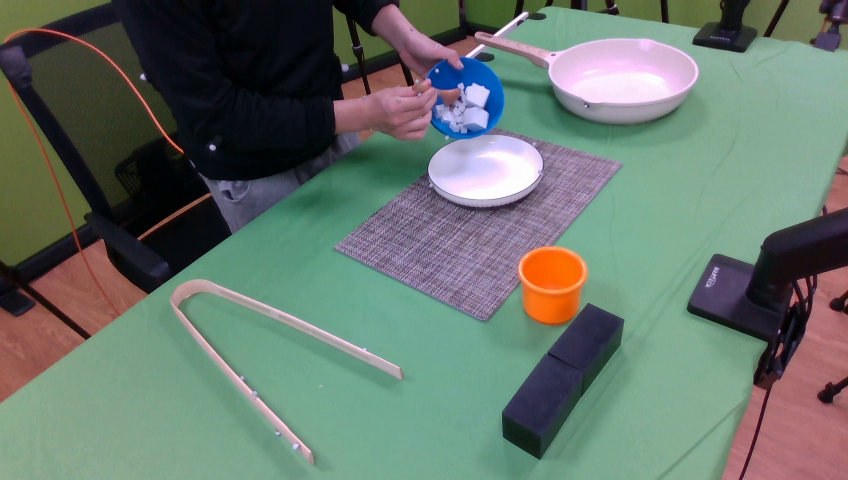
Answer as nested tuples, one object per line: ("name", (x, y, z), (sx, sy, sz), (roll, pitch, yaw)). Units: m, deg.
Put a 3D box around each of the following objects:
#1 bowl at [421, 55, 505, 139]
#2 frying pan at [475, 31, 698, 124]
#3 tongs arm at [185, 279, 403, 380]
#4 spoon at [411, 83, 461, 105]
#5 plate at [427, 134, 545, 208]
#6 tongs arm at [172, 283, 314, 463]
("bowl", (0.065, -0.248, 1.099), (0.152, 0.077, 0.151), (1, 81, -8))
("frying pan", (0.320, -0.371, 1.290), (0.485, 0.103, 0.307), (28, 50, 23))
("tongs arm", (-0.194, 0.120, 0.853), (0.385, 0.028, 0.028), (17, 49, 26))
("spoon", (0.020, -0.252, 1.028), (0.021, 0.041, 0.195), (52, 24, 13))
("plate", (0.110, -0.119, 1.073), (0.207, 0.039, 0.206), (-4, 41, 4))
("tongs arm", (-0.246, 0.161, 0.806), (0.381, 0.026, 0.051), (29, 51, 36))
